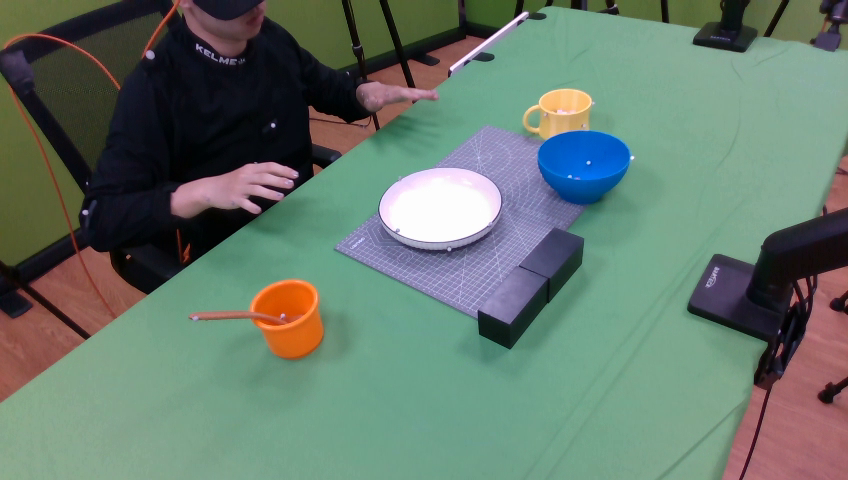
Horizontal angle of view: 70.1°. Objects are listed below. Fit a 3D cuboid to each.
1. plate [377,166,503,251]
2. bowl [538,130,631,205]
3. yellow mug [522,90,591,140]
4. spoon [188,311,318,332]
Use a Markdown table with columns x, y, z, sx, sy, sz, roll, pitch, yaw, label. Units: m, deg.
| x | y | z | sx | sy | sz | roll | pitch | yaw | label |
| --- | --- | --- | --- | --- | --- | --- | --- | --- | --- |
| 0.027 | -0.050 | 1.007 | 0.209 | 0.038 | 0.208 | -4 | 41 | 4 | plate |
| 0.265 | -0.113 | 1.014 | 0.151 | 0.077 | 0.150 | -4 | 40 | 4 | bowl |
| 0.257 | -0.239 | 1.177 | 0.131 | 0.064 | 0.099 | -6 | 40 | 3 | yellow mug |
| -0.216 | 0.102 | 0.783 | 0.041 | 0.195 | 0.021 | 26 | 95 | 39 | spoon |
